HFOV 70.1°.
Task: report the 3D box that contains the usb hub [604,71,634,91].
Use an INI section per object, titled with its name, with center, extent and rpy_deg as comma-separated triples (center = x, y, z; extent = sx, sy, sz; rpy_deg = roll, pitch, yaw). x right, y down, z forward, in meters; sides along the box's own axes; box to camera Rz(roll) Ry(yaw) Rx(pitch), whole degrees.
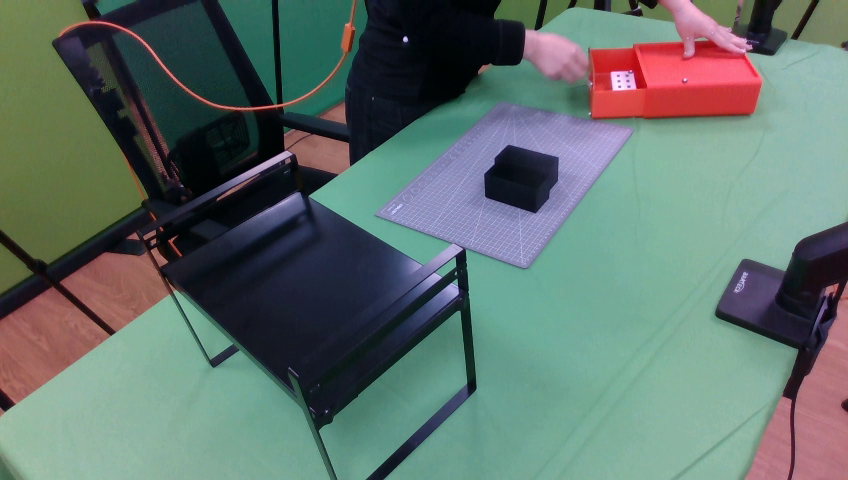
[usb hub]
center = 0.407, -0.320, 1.262
extent = 0.049, 0.025, 0.125
rpy_deg = 9, 37, 20

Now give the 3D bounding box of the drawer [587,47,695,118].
[drawer]
center = 0.446, -0.331, 1.249
extent = 0.211, 0.073, 0.194
rpy_deg = 1, 41, 10

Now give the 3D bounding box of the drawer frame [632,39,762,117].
[drawer frame]
center = 0.540, -0.332, 1.234
extent = 0.213, 0.083, 0.201
rpy_deg = 0, 41, 7
